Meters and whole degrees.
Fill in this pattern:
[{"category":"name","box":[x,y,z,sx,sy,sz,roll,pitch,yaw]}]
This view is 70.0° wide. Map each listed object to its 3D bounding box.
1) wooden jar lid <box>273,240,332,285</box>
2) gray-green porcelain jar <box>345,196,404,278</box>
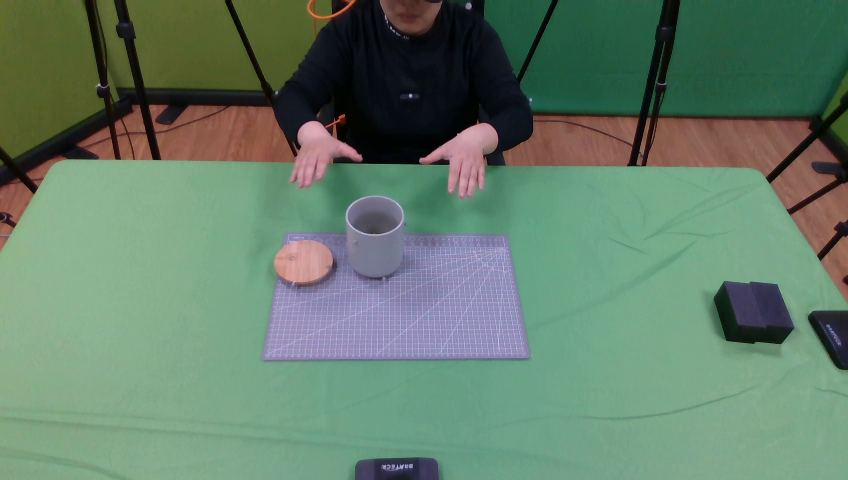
[{"category":"wooden jar lid","box":[-0.227,0.044,1.137,0.108,0.021,0.107,3,47,-3]},{"category":"gray-green porcelain jar","box":[-0.091,-0.001,1.117,0.106,0.127,0.105,2,46,-2]}]
